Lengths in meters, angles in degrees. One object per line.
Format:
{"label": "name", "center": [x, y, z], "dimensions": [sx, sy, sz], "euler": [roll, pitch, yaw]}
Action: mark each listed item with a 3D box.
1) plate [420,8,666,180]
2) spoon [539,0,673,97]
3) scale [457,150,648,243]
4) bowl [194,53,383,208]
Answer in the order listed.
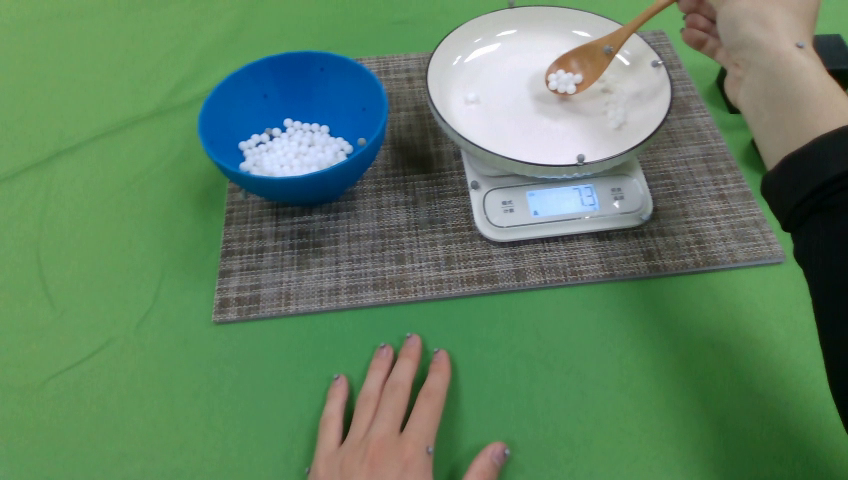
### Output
{"label": "plate", "center": [0.100, -0.127, 0.528], "dimensions": [0.209, 0.038, 0.207], "euler": [0, 54, 1]}
{"label": "spoon", "center": [0.175, -0.178, 0.482], "dimensions": [0.194, 0.022, 0.041], "euler": [-34, 65, 32]}
{"label": "scale", "center": [0.103, -0.089, 0.541], "dimensions": [0.149, 0.032, 0.199], "euler": [-6, 55, -3]}
{"label": "bowl", "center": [-0.105, -0.080, 0.512], "dimensions": [0.151, 0.077, 0.150], "euler": [-1, 54, 2]}
